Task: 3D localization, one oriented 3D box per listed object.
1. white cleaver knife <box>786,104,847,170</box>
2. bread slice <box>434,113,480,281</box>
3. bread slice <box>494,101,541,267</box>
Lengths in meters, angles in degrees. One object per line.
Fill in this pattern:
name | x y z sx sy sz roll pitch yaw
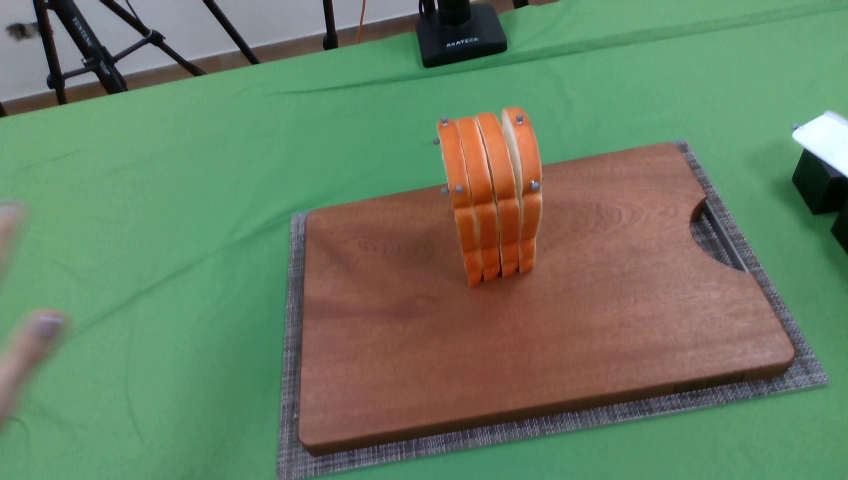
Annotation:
white cleaver knife | 0.427 -0.033 0.505 0.066 0.022 0.283 -23 52 -7
bread slice | 0.029 -0.046 0.543 0.018 0.136 0.106 -12 47 2
bread slice | 0.082 -0.055 0.541 0.019 0.133 0.104 -8 50 -3
